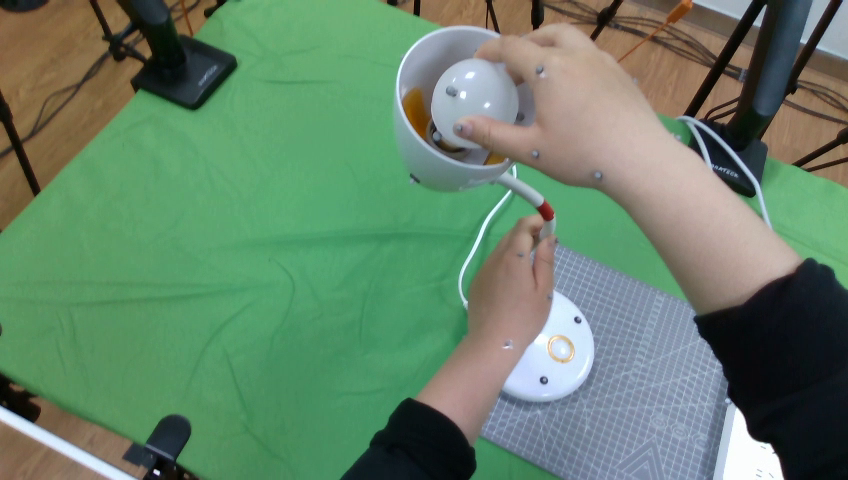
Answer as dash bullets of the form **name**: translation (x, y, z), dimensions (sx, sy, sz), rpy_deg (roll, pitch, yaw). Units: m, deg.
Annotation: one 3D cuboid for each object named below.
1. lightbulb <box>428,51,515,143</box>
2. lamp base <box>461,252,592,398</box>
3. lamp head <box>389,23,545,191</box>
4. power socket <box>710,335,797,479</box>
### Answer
- **lightbulb**: translation (0.027, -0.096, 0.442), dimensions (0.060, 0.107, 0.059), rpy_deg (2, 81, -14)
- **lamp base**: translation (0.131, 0.084, 0.717), dimensions (0.179, 0.181, 0.159), rpy_deg (19, 61, 8)
- **lamp head**: translation (0.026, -0.086, 0.475), dimensions (0.112, 0.123, 0.111), rpy_deg (2, 71, -6)
- **power socket**: translation (0.414, 0.221, 0.757), dimensions (0.072, 0.033, 0.225), rpy_deg (24, 61, 6)
